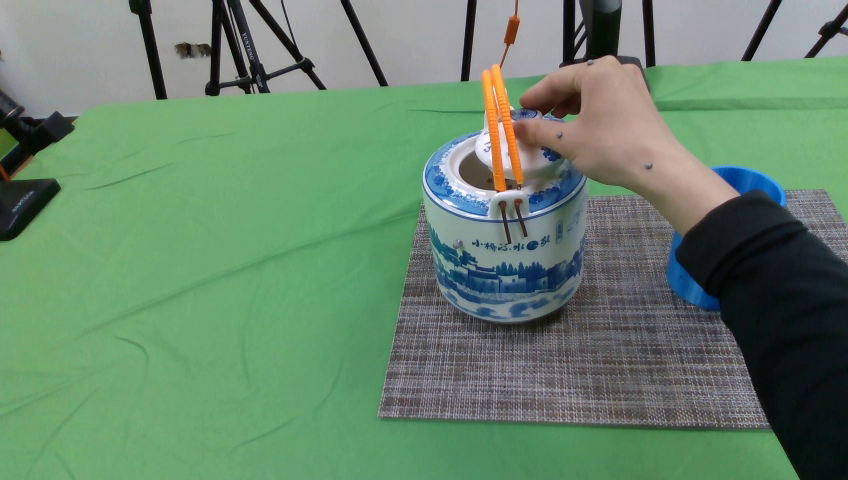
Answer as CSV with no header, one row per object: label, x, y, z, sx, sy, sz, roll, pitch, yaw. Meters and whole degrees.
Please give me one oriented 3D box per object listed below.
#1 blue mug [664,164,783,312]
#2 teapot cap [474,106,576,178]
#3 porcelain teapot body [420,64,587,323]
blue mug,0.266,0.008,0.539,0.082,0.107,0.115,-1,41,10
teapot cap,0.083,-0.087,0.501,0.085,0.044,0.084,-5,40,5
porcelain teapot body,0.070,-0.060,0.563,0.145,0.227,0.203,-6,40,4
